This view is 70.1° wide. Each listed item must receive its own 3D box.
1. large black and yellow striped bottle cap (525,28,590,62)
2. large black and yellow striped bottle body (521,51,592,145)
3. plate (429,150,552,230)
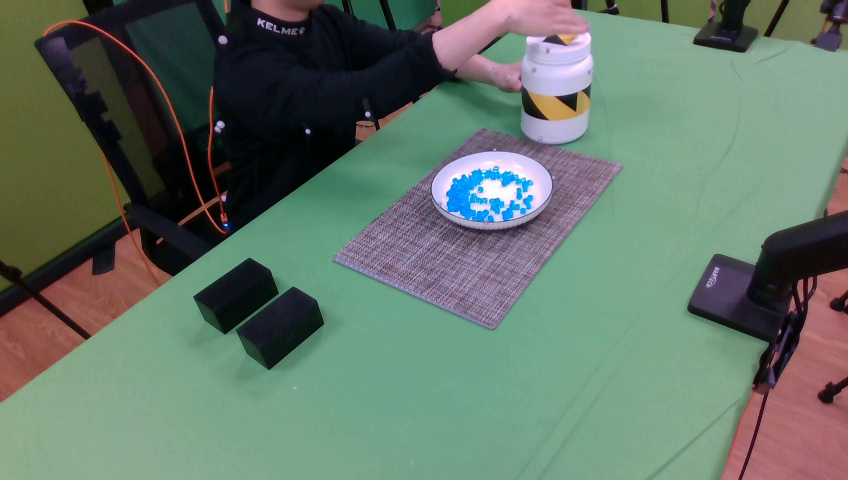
[{"bbox_3d":[0.241,-0.354,1.093,0.115,0.019,0.114,-3,41,3],"label":"large black and yellow striped bottle cap"},{"bbox_3d":[0.249,-0.290,1.147,0.131,0.185,0.130,-4,40,4],"label":"large black and yellow striped bottle body"},{"bbox_3d":[0.113,-0.082,1.032,0.207,0.039,0.206,-4,41,4],"label":"plate"}]
